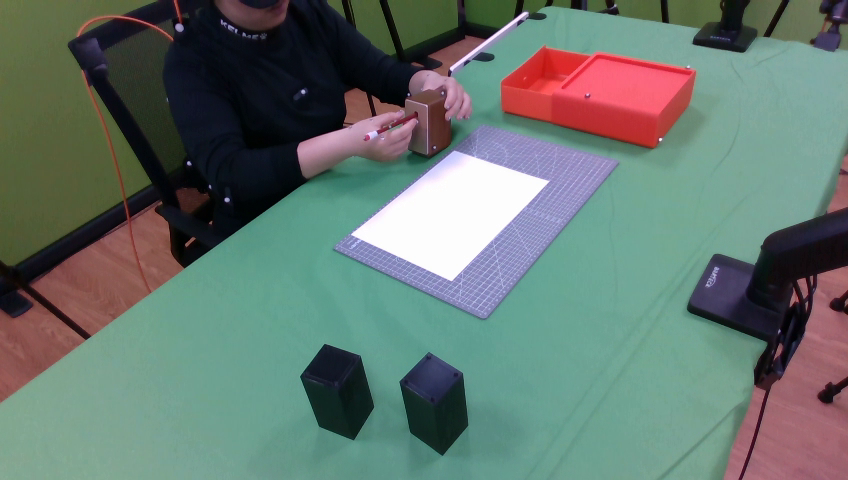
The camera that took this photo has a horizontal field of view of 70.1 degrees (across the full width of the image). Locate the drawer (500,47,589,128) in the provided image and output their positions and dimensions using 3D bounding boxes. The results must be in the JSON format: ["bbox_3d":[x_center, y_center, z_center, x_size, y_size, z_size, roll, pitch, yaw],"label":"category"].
[{"bbox_3d":[0.295,-0.316,1.255,0.210,0.073,0.195,22,47,29],"label":"drawer"}]

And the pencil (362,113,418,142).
[{"bbox_3d":[-0.043,-0.213,1.096,0.012,0.012,0.195,24,41,32],"label":"pencil"}]

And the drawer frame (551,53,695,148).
[{"bbox_3d":[0.391,-0.281,1.196,0.212,0.083,0.202,22,48,29],"label":"drawer frame"}]

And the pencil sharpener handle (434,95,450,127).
[{"bbox_3d":[0.041,-0.257,1.191,0.035,0.068,0.031,28,42,29],"label":"pencil sharpener handle"}]

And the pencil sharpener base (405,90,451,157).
[{"bbox_3d":[0.010,-0.224,1.163,0.061,0.107,0.077,23,39,33],"label":"pencil sharpener base"}]
